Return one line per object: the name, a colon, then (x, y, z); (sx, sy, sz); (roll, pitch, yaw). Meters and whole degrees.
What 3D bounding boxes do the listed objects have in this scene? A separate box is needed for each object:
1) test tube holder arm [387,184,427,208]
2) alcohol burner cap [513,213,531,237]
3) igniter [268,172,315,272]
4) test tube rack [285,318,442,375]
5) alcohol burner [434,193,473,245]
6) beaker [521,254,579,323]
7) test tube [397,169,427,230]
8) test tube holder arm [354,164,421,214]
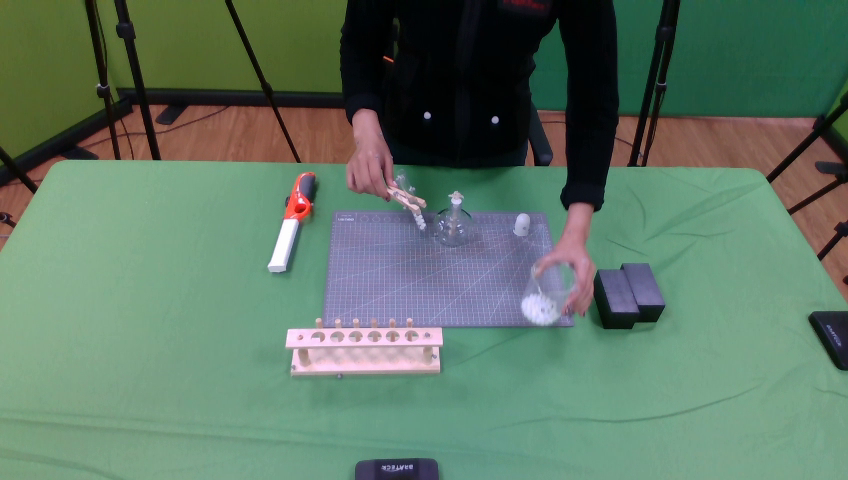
test tube holder arm: (-0.032, -0.077, 1.051); (0.087, 0.015, 0.010); (25, 63, 31)
alcohol burner cap: (0.200, -0.033, 1.227); (0.034, 0.048, 0.033); (2, 45, -1)
igniter: (-0.263, -0.045, 1.219); (0.057, 0.025, 0.275); (-2, 45, 8)
test tube rack: (-0.095, 0.168, 0.986); (0.242, 0.085, 0.066); (0, 46, -4)
alcohol burner: (0.059, -0.046, 1.179); (0.078, 0.120, 0.077); (1, 48, -1)
beaker: (0.201, 0.085, 0.992); (0.074, 0.101, 0.084); (27, 50, 16)
test tube: (-0.019, -0.066, 1.034); (0.017, 0.151, 0.017); (-9, 51, 11)
test tube holder arm: (-0.068, -0.093, 1.073); (0.013, 0.015, 0.177); (-43, 54, -19)
